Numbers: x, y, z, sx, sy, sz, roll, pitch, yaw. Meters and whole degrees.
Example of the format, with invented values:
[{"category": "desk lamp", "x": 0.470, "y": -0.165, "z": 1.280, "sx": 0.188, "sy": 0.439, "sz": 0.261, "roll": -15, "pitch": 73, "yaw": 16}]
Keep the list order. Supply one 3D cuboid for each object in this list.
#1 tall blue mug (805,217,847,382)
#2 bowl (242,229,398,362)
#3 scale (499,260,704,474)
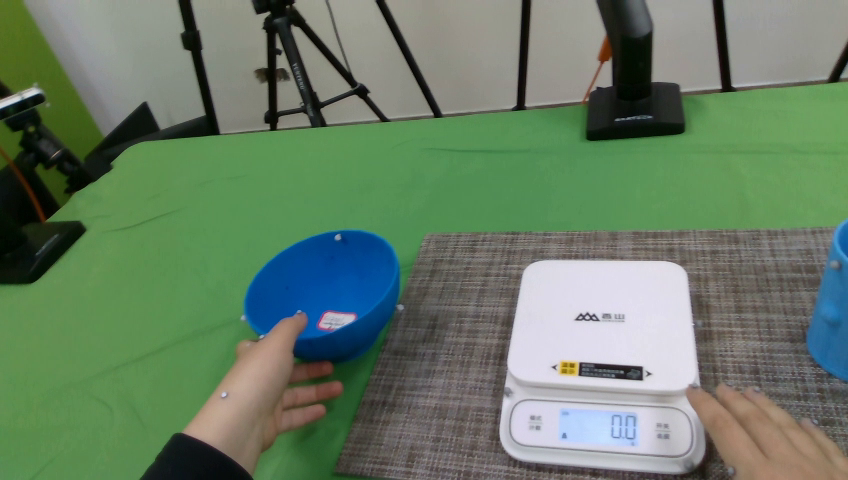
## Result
[{"category": "tall blue mug", "x": 0.338, "y": 0.050, "z": 0.428, "sx": 0.078, "sy": 0.109, "sz": 0.106, "roll": -33, "pitch": 41, "yaw": -22}, {"category": "bowl", "x": -0.091, "y": 0.066, "z": 0.591, "sx": 0.151, "sy": 0.077, "sz": 0.150, "roll": -10, "pitch": 39, "yaw": 8}, {"category": "scale", "x": 0.146, "y": 0.093, "z": 0.506, "sx": 0.148, "sy": 0.032, "sz": 0.199, "roll": -1, "pitch": 41, "yaw": 18}]
